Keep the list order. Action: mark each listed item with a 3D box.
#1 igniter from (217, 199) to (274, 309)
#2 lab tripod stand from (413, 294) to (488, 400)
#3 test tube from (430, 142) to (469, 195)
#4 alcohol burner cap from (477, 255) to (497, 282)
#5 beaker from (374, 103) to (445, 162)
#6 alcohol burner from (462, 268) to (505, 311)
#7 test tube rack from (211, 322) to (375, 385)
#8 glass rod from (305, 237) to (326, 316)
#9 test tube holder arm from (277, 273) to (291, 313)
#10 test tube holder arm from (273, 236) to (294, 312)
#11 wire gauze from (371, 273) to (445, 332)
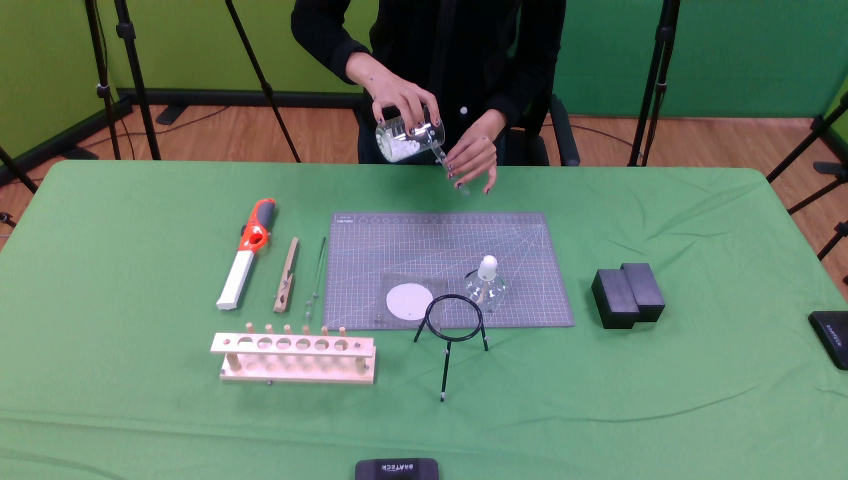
[{"bbox_3d":[-0.336,0.017,1.153,0.057,0.025,0.275,-2,45,8],"label":"igniter"},{"bbox_3d":[0.045,0.159,0.972,0.148,0.132,0.147,2,44,-2],"label":"lab tripod stand"},{"bbox_3d":[0.049,-0.130,1.126,0.017,0.151,0.017,-16,52,21],"label":"test tube"},{"bbox_3d":[0.110,0.047,1.046,0.034,0.048,0.033,2,52,-2],"label":"alcohol burner cap"},{"bbox_3d":[-0.027,-0.178,1.031,0.100,0.084,0.073,-24,46,-19],"label":"beaker"},{"bbox_3d":[0.108,0.071,1.072,0.078,0.119,0.077,4,45,-4],"label":"alcohol burner"},{"bbox_3d":[-0.202,0.176,0.969,0.242,0.085,0.066,3,46,-2],"label":"test tube rack"},{"bbox_3d":[-0.202,0.063,1.131,0.008,0.008,0.198,4,44,0],"label":"glass rod"},{"bbox_3d":[-0.254,0.093,1.094,0.010,0.015,0.087,29,38,-27],"label":"test tube holder arm"},{"bbox_3d":[-0.259,0.059,1.122,0.013,0.015,0.177,28,39,-28],"label":"test tube holder arm"},{"bbox_3d":[-0.028,0.109,1.099,0.125,0.011,0.121,7,45,4],"label":"wire gauze"}]
